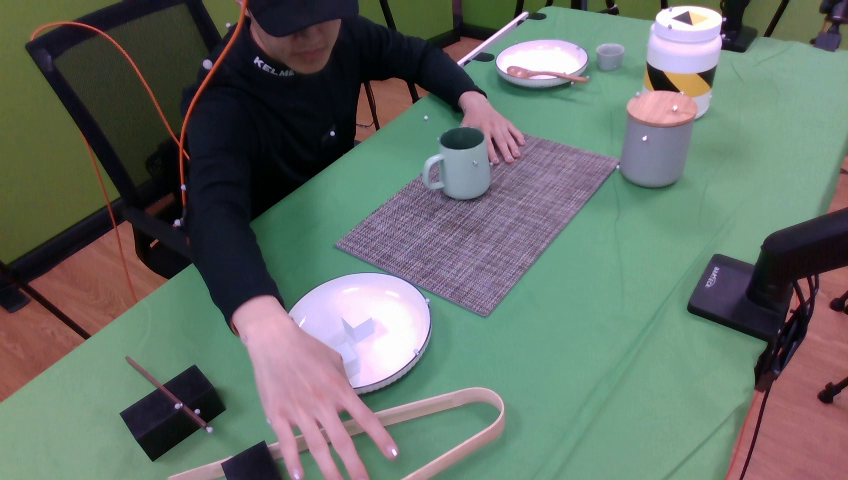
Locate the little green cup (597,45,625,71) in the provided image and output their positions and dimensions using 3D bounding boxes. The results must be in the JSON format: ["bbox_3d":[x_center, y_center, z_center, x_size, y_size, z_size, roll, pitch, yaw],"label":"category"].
[{"bbox_3d":[0.422,-0.413,1.375,0.061,0.039,0.061,-3,41,3],"label":"little green cup"}]

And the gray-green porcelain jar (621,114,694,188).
[{"bbox_3d":[0.390,-0.161,1.020,0.106,0.127,0.105,-4,41,4],"label":"gray-green porcelain jar"}]

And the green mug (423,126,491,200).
[{"bbox_3d":[0.055,-0.125,1.039,0.126,0.105,0.091,-25,44,-18],"label":"green mug"}]

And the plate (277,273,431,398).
[{"bbox_3d":[-0.091,0.129,0.821,0.207,0.039,0.206,-4,40,4],"label":"plate"}]

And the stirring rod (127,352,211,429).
[{"bbox_3d":[-0.311,0.180,0.731,0.175,0.014,0.006,26,55,31],"label":"stirring rod"}]

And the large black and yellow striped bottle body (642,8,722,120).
[{"bbox_3d":[0.493,-0.334,1.161,0.131,0.185,0.130,-4,41,4],"label":"large black and yellow striped bottle body"}]

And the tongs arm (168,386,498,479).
[{"bbox_3d":[-0.100,0.231,0.711,0.388,0.028,0.028,-13,32,-7],"label":"tongs arm"}]

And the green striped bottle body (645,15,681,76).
[{"bbox_3d":[0.520,-0.424,1.312,0.063,0.120,0.063,-4,41,4],"label":"green striped bottle body"}]

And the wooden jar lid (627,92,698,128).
[{"bbox_3d":[0.384,-0.207,0.979,0.108,0.021,0.108,-6,39,5],"label":"wooden jar lid"}]

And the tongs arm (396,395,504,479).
[{"bbox_3d":[-0.072,0.272,0.652,0.386,0.026,0.050,-21,37,-17],"label":"tongs arm"}]

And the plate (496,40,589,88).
[{"bbox_3d":[0.269,-0.398,1.381,0.209,0.038,0.208,-4,41,4],"label":"plate"}]

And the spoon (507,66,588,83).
[{"bbox_3d":[0.265,-0.357,1.311,0.192,0.022,0.042,18,48,38],"label":"spoon"}]

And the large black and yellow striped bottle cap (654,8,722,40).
[{"bbox_3d":[0.483,-0.397,1.108,0.115,0.019,0.114,-3,41,3],"label":"large black and yellow striped bottle cap"}]

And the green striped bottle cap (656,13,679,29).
[{"bbox_3d":[0.515,-0.463,1.278,0.044,0.020,0.044,-5,42,5],"label":"green striped bottle cap"}]
